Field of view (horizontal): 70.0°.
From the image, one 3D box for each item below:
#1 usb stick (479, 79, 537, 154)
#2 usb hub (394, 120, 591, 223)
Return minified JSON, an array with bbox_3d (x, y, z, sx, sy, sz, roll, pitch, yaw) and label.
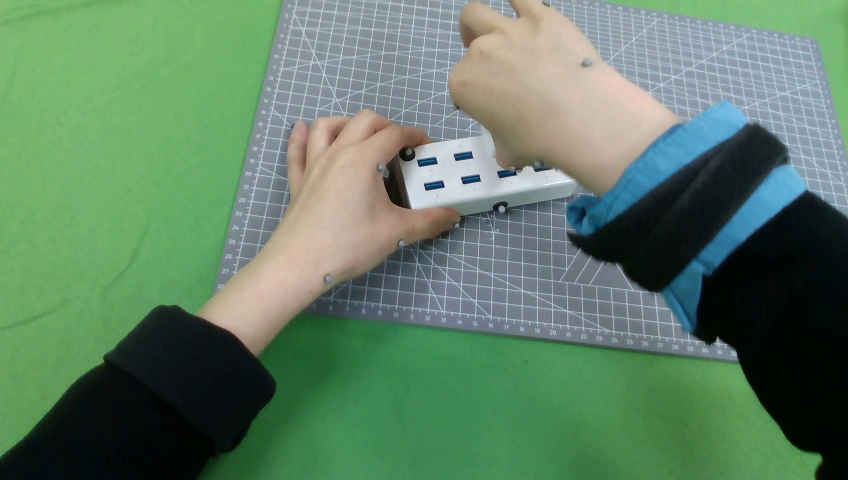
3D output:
[{"bbox_3d":[0.052,-0.074,0.389,0.021,0.059,0.027,-13,67,-14],"label":"usb stick"},{"bbox_3d":[0.045,-0.048,0.410,0.125,0.025,0.049,-11,67,-11],"label":"usb hub"}]
